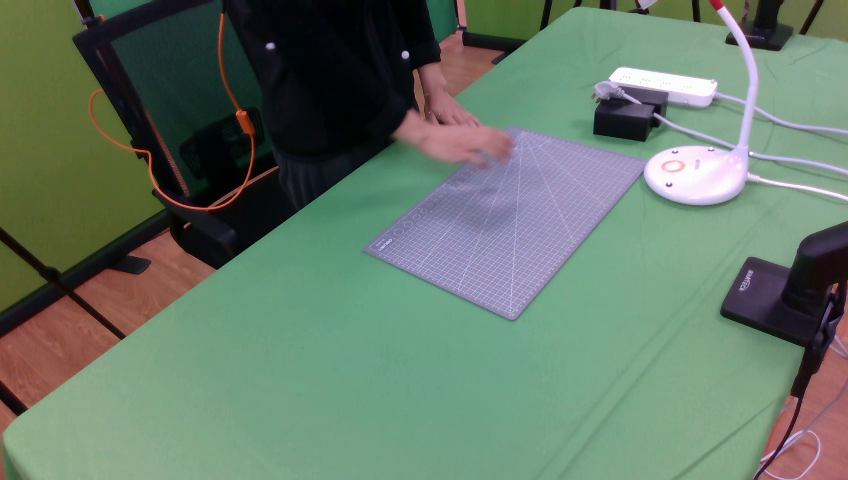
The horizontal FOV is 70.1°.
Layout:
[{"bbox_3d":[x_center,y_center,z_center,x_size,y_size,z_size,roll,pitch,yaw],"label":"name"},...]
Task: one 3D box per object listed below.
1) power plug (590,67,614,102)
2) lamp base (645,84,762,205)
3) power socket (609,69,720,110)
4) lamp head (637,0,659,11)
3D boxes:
[{"bbox_3d":[0.355,-0.304,1.199,0.035,0.052,0.072,43,43,-7],"label":"power plug"},{"bbox_3d":[0.461,-0.170,0.975,0.179,0.181,0.160,3,41,11],"label":"lamp base"},{"bbox_3d":[0.492,-0.316,1.256,0.225,0.033,0.072,20,49,30],"label":"power socket"},{"bbox_3d":[0.330,-0.391,0.827,0.122,0.113,0.112,-21,35,25],"label":"lamp head"}]
